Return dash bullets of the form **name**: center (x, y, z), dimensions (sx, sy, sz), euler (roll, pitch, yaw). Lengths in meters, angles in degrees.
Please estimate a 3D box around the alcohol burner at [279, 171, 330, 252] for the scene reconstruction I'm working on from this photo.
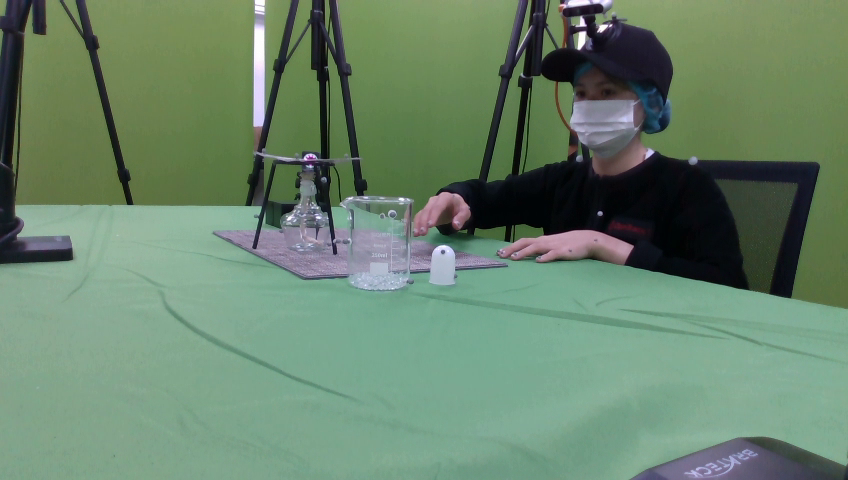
- **alcohol burner**: center (-0.174, -0.043, 0.896), dimensions (0.078, 0.119, 0.078), euler (3, 5, 0)

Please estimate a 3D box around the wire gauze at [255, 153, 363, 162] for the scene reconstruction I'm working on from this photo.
- **wire gauze**: center (-0.172, -0.119, 0.891), dimensions (0.122, 0.011, 0.124), euler (-2, 7, -38)

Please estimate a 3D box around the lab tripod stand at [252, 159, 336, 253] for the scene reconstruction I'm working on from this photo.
- **lab tripod stand**: center (-0.180, -0.053, 0.900), dimensions (0.148, 0.131, 0.148), euler (1, 6, 0)

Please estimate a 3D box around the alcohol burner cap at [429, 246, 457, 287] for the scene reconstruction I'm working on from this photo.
- **alcohol burner cap**: center (0.024, 0.030, 0.705), dimensions (0.034, 0.048, 0.034), euler (2, 6, 0)

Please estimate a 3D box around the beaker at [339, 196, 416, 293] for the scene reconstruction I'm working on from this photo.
- **beaker**: center (-0.052, 0.004, 0.661), dimensions (0.084, 0.100, 0.073), euler (-1, 7, -18)
